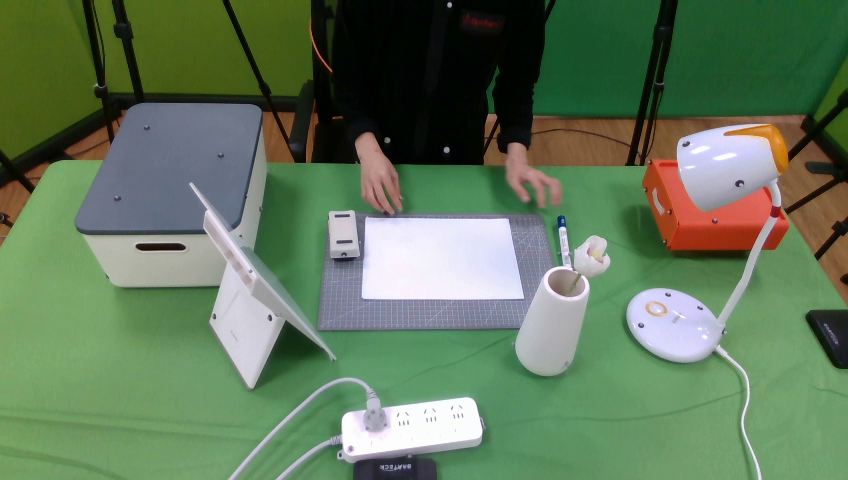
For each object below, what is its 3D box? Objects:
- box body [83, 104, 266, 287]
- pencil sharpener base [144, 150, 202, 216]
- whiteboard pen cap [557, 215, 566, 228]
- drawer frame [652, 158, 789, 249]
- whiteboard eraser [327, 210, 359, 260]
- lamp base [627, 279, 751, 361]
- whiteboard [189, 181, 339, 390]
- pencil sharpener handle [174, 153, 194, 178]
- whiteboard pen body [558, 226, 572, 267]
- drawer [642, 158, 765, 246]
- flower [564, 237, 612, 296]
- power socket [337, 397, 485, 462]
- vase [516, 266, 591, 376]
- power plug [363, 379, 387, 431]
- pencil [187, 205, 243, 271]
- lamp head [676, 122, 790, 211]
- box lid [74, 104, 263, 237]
[{"bbox_3d":[-0.447,-0.088,1.150,0.254,0.161,0.361,-1,46,-5],"label":"box body"},{"bbox_3d":[-0.493,-0.113,1.199,0.061,0.107,0.076,15,47,11],"label":"pencil sharpener base"},{"bbox_3d":[0.284,-0.035,1.246,0.018,0.018,0.033,4,51,-1],"label":"whiteboard pen cap"},{"bbox_3d":[0.571,-0.075,1.214,0.214,0.083,0.200,0,45,-1],"label":"drawer frame"},{"bbox_3d":[-0.158,-0.009,1.177,0.055,0.042,0.112,-6,47,-7],"label":"whiteboard eraser"},{"bbox_3d":[0.459,0.100,1.027,0.178,0.181,0.160,27,51,17],"label":"lamp base"},{"bbox_3d":[-0.292,0.096,0.929,0.144,0.307,0.216,-37,57,-10],"label":"whiteboard"},{"bbox_3d":[-0.479,-0.156,1.225,0.036,0.068,0.030,24,48,2],"label":"pencil sharpener handle"},{"bbox_3d":[0.280,0.010,1.208,0.017,0.017,0.140,3,50,-1],"label":"whiteboard pen body"},{"bbox_3d":[0.566,-0.076,1.211,0.212,0.073,0.193,2,45,-2],"label":"drawer"},{"bbox_3d":[0.206,0.088,0.892,0.038,0.363,0.044,-16,67,-9],"label":"flower"},{"bbox_3d":[-0.018,0.285,0.915,0.227,0.033,0.071,-5,46,-8],"label":"power socket"},{"bbox_3d":[0.208,0.132,0.964,0.098,0.201,0.097,3,46,-3],"label":"vase"},{"bbox_3d":[-0.072,0.252,0.910,0.035,0.053,0.072,3,45,-1],"label":"power plug"},{"bbox_3d":[-0.401,-0.009,1.176,0.012,0.012,0.193,15,45,10],"label":"pencil"},{"bbox_3d":[0.423,-0.104,0.819,0.122,0.113,0.112,-13,33,40],"label":"lamp head"},{"bbox_3d":[-0.443,-0.139,1.095,0.263,0.015,0.369,-1,45,-5],"label":"box lid"}]
